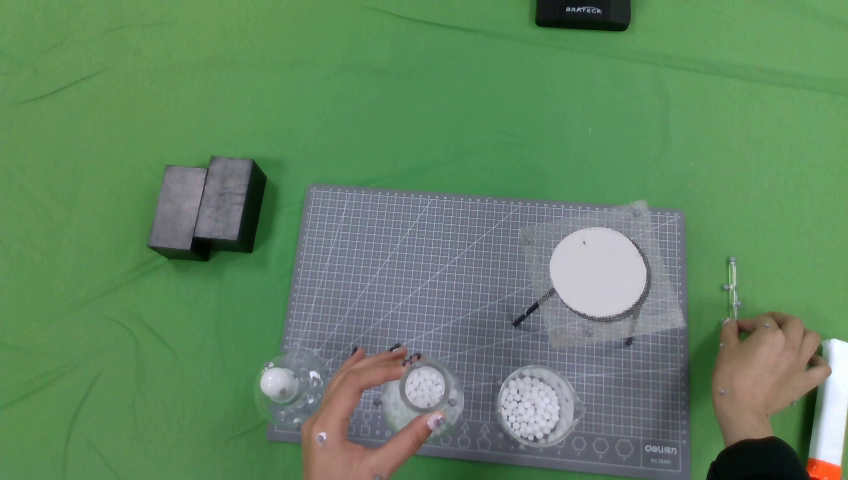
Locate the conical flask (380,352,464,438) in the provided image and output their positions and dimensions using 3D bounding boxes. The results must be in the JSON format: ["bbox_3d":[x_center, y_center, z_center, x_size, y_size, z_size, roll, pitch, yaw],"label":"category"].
[{"bbox_3d":[-0.001,0.122,0.494,0.075,0.122,0.075,0,72,-1],"label":"conical flask"}]

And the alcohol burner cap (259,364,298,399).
[{"bbox_3d":[-0.141,0.134,0.584,0.034,0.048,0.033,1,72,-2],"label":"alcohol burner cap"}]

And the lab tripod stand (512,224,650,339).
[{"bbox_3d":[0.164,0.049,0.622,0.148,0.132,0.147,-1,75,3],"label":"lab tripod stand"}]

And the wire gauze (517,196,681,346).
[{"bbox_3d":[0.160,0.028,0.558,0.125,0.011,0.120,-12,75,0],"label":"wire gauze"}]

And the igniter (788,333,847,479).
[{"bbox_3d":[0.401,0.230,0.616,0.057,0.025,0.275,19,75,-3],"label":"igniter"}]

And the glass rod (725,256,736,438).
[{"bbox_3d":[0.335,0.113,0.662,0.008,0.008,0.198,6,74,4],"label":"glass rod"}]

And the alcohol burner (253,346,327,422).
[{"bbox_3d":[-0.141,0.146,0.619,0.078,0.119,0.077,0,75,2],"label":"alcohol burner"}]

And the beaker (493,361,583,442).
[{"bbox_3d":[0.109,0.163,0.609,0.084,0.101,0.073,3,74,3],"label":"beaker"}]
